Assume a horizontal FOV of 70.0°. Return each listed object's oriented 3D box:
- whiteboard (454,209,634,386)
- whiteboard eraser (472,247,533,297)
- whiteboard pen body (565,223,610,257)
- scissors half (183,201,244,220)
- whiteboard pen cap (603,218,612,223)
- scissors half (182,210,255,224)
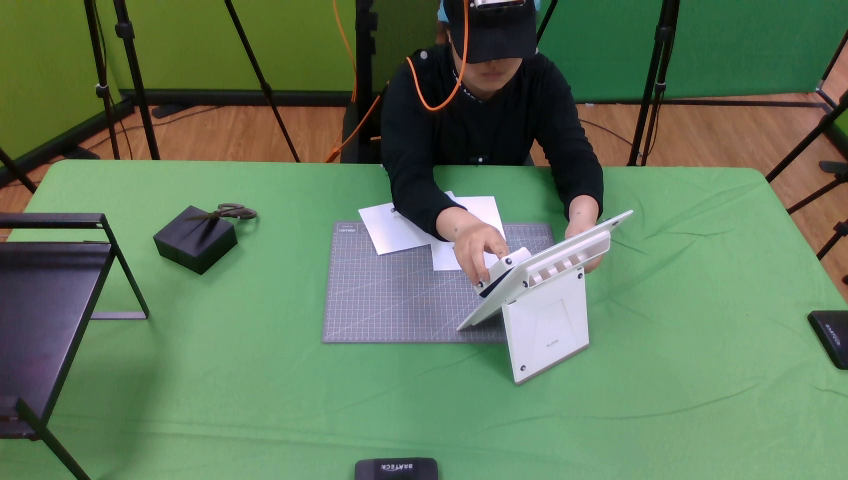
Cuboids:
[{"bbox_3d":[0.211,0.111,0.954,0.217,0.306,0.143,-22,72,-24],"label":"whiteboard"},{"bbox_3d":[0.122,0.054,0.937,0.055,0.113,0.041,-21,73,-29],"label":"whiteboard eraser"},{"bbox_3d":[0.335,-0.003,1.228,0.141,0.017,0.017,-32,56,-29],"label":"whiteboard pen body"},{"bbox_3d":[-0.405,-0.054,1.163,0.040,0.013,0.175,28,18,7],"label":"scissors half"},{"bbox_3d":[0.379,-0.031,1.255,0.033,0.018,0.018,-33,56,-30],"label":"whiteboard pen cap"},{"bbox_3d":[-0.389,-0.042,1.158,0.040,0.013,0.175,40,21,23],"label":"scissors half"}]
